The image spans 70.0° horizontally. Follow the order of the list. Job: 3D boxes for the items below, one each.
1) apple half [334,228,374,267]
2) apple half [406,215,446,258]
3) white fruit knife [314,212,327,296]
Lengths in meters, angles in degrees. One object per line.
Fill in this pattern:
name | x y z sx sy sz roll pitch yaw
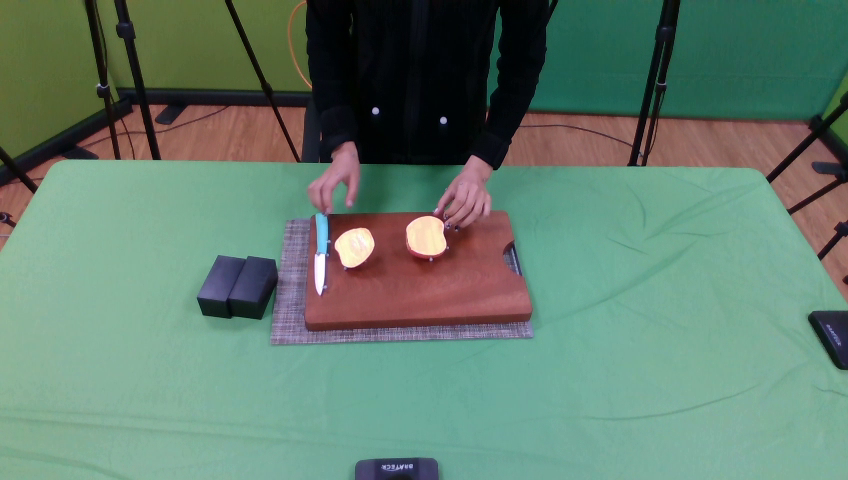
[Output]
apple half | -0.123 0.017 1.120 0.081 0.033 0.081 -8 62 15
apple half | 0.002 -0.001 1.136 0.075 0.053 0.080 -7 71 -13
white fruit knife | -0.192 0.023 1.128 0.027 0.016 0.206 -22 47 15
